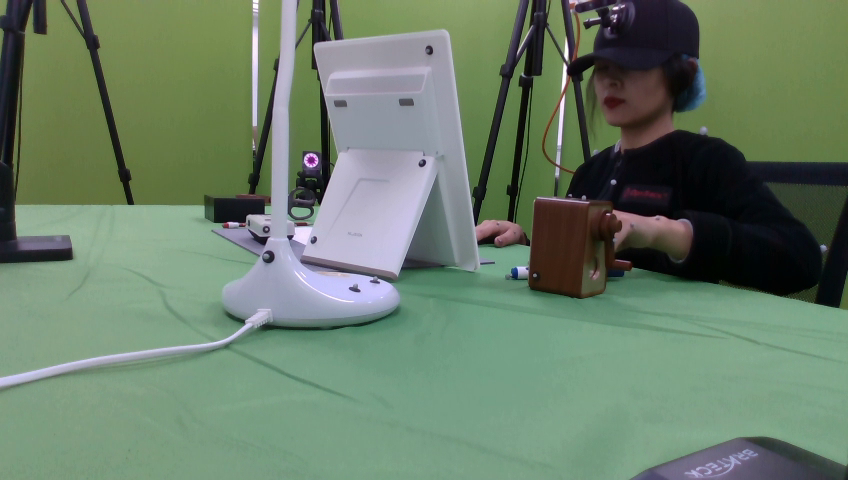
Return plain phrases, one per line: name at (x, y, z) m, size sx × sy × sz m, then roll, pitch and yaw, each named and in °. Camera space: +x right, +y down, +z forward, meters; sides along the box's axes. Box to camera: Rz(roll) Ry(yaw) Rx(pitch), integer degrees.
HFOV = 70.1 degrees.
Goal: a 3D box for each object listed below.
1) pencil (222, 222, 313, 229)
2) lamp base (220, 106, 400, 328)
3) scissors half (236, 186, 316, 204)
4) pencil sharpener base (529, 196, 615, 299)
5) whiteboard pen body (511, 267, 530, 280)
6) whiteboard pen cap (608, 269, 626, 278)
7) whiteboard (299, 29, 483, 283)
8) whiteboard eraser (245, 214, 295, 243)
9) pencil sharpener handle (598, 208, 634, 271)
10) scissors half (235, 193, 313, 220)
pencil at (-0.302, -0.030, 1.189) m, size 0.195 × 0.012 × 0.012 m, roll -3°, pitch 9°, yaw -42°
lamp base at (-0.102, -0.023, 0.531) m, size 0.160 × 0.180 × 0.179 m, roll 4°, pitch 10°, yaw 10°
scissors half at (-0.320, -0.097, 1.316) m, size 0.176 × 0.040 × 0.013 m, roll -3°, pitch 11°, yaw -29°
pencil sharpener base at (0.168, 0.007, 0.678) m, size 0.076 × 0.107 × 0.062 m, roll 10°, pitch 10°, yaw 42°
whiteboard pen body at (0.179, 0.041, 0.757) m, size 0.141 × 0.017 × 0.017 m, roll 0°, pitch 8°, yaw -8°
whiteboard pen cap at (0.238, 0.040, 0.767) m, size 0.033 × 0.018 × 0.018 m, roll -2°, pitch 8°, yaw -9°
whiteboard at (-0.074, -0.082, 0.742) m, size 0.216 × 0.305 × 0.144 m, roll 9°, pitch 29°, yaw 37°
whiteboard eraser at (-0.247, -0.018, 0.965) m, size 0.056 × 0.042 × 0.112 m, roll 0°, pitch 8°, yaw -28°
pencil sharpener handle at (0.208, 0.000, 0.645) m, size 0.030 × 0.068 × 0.036 m, roll 10°, pitch 23°, yaw 42°
scissors half at (-0.325, -0.077, 1.319) m, size 0.176 × 0.040 × 0.012 m, roll 17°, pitch 6°, yaw -32°
